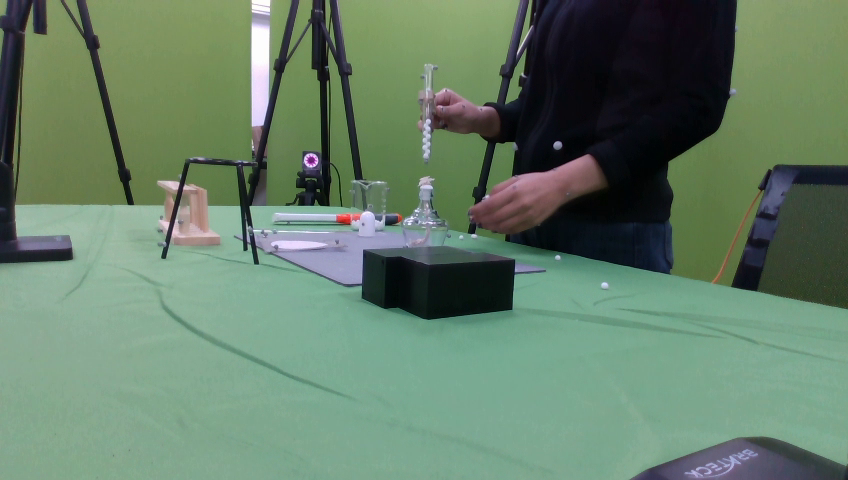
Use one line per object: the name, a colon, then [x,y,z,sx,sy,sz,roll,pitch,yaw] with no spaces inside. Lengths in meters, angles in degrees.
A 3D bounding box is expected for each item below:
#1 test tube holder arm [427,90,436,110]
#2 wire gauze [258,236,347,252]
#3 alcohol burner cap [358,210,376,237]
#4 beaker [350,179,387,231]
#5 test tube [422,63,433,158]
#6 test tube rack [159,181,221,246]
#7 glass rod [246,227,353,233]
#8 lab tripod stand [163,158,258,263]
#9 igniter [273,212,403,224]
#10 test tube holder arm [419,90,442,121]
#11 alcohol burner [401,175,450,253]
test tube holder arm: [0.013,-0.225,0.978,0.010,0.015,0.088,7,1,3]
wire gauze: [-0.189,0.005,0.931,0.122,0.011,0.124,1,7,-21]
alcohol burner cap: [-0.104,-0.030,1.098,0.034,0.048,0.034,3,7,0]
beaker: [-0.111,-0.069,1.204,0.074,0.100,0.084,2,8,0]
test tube: [0.005,-0.204,0.955,0.017,0.150,0.017,1,-2,0]
test tube rack: [-0.395,-0.050,1.010,0.067,0.085,0.241,-2,8,-28]
glass rod: [-0.224,-0.017,1.109,0.201,0.008,0.008,1,7,-27]
lab tripod stand: [-0.265,-0.041,0.802,0.148,0.131,0.148,4,7,0]
igniter: [-0.179,-0.048,1.290,0.278,0.025,0.057,-1,-2,-24]
test tube holder arm: [0.013,-0.226,1.023,0.013,0.015,0.178,8,1,9]
alcohol burner: [0.003,-0.040,0.933,0.078,0.119,0.078,2,9,0]
